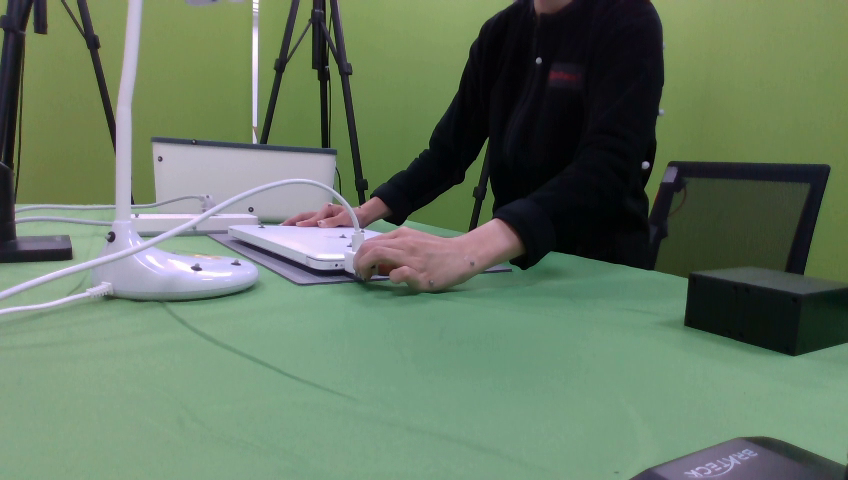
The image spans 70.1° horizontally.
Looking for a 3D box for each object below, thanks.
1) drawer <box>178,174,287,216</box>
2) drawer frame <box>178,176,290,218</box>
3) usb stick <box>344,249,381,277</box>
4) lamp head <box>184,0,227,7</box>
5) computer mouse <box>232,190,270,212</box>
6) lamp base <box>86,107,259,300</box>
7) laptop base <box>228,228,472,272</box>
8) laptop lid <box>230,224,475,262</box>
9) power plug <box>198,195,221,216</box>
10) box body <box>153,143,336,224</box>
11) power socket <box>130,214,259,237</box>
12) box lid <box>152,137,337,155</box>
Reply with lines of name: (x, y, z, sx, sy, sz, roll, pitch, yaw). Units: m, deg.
drawer: (-0.414, -0.104, 1.342, 0.212, 0.073, 0.194, 5, 6, -11)
drawer frame: (-0.409, -0.099, 1.340, 0.214, 0.082, 0.201, -4, 7, -10)
usb stick: (-0.074, 0.025, 0.687, 0.021, 0.027, 0.059, -12, 9, -35)
lamp head: (-0.229, -0.320, 0.627, 0.112, 0.112, 0.123, 6, -36, 26)
computer mouse: (-0.382, -0.086, 1.343, 0.063, 0.041, 0.117, 10, 10, -4)
lamp base: (-0.254, -0.039, 0.603, 0.160, 0.180, 0.179, 4, 10, 18)
laptop base: (-0.122, 0.012, 0.889, 0.237, 0.023, 0.352, 1, 6, -35)
laptop lid: (-0.119, 0.001, 0.888, 0.243, 0.013, 0.355, 1, 7, -33)
power plug: (-0.385, -0.055, 1.088, 0.035, 0.052, 0.072, -2, 7, -24)
box body: (-0.380, -0.130, 1.343, 0.365, 0.160, 0.253, 1, 7, -9)
power socket: (-0.397, -0.027, 1.048, 0.228, 0.032, 0.072, -3, 8, -35)
box lid: (-0.379, -0.203, 1.334, 0.372, 0.015, 0.262, 2, 7, -9)
